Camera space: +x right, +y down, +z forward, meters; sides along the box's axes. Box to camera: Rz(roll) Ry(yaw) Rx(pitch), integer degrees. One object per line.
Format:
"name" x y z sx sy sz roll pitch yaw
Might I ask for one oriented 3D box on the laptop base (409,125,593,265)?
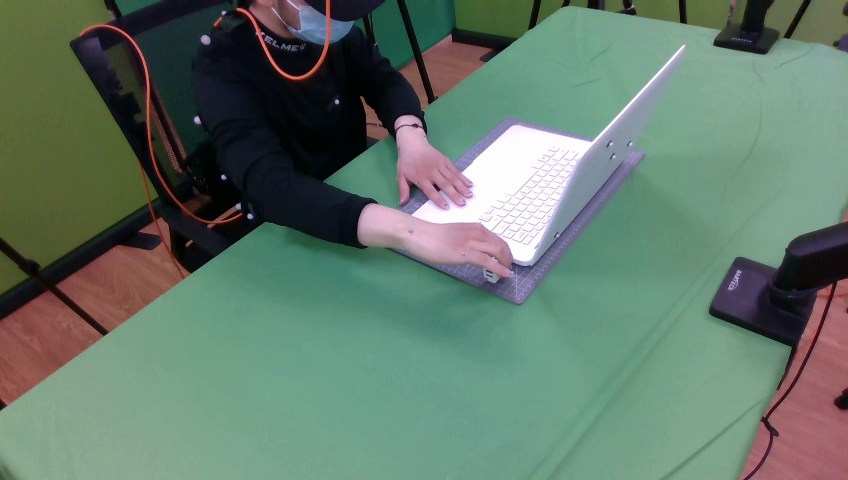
"laptop base" 0.168 -0.093 1.055 0.233 0.023 0.355 19 47 33

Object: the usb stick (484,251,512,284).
"usb stick" 0.113 0.036 0.894 0.021 0.027 0.059 23 47 32

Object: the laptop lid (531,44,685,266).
"laptop lid" 0.279 -0.129 0.906 0.013 0.242 0.357 34 52 17
